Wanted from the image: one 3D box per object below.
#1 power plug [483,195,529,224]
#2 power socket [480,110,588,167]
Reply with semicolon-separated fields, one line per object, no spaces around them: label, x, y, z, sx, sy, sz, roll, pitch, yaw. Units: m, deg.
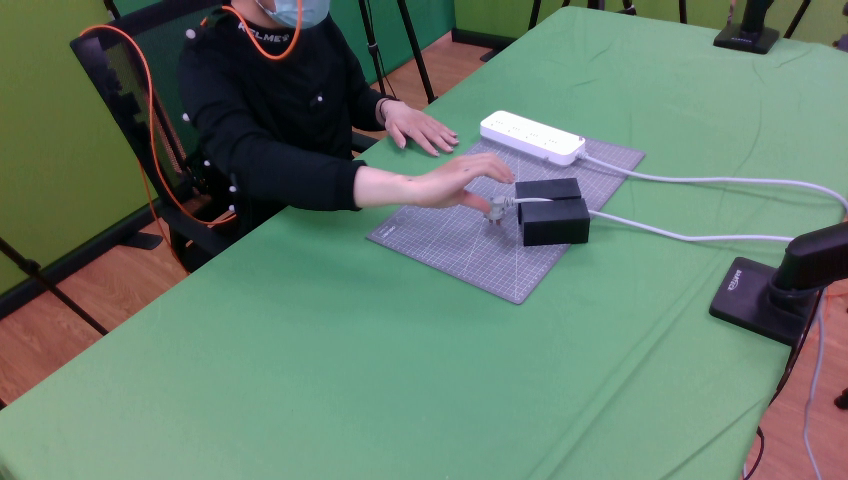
power plug;0.129;-0.044;0.969;0.072;0.053;0.035;14;51;27
power socket;0.204;-0.198;1.157;0.225;0.033;0.072;29;54;34
